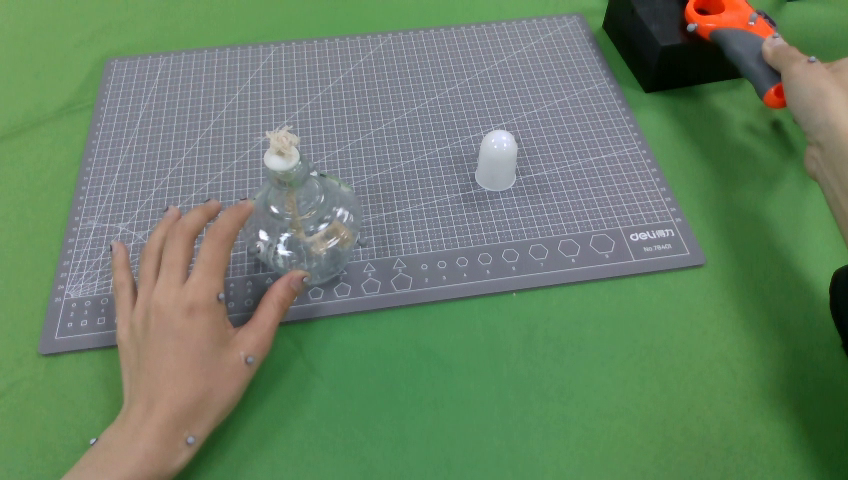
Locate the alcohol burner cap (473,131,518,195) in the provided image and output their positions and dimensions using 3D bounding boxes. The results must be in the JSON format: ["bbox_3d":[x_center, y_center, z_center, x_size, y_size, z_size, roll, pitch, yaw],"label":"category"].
[{"bbox_3d":[0.055,-0.061,0.456,0.034,0.048,0.033,1,53,-1],"label":"alcohol burner cap"}]

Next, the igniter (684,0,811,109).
[{"bbox_3d":[0.239,-0.206,0.514,0.057,0.025,0.273,-15,54,-1],"label":"igniter"}]

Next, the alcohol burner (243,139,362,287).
[{"bbox_3d":[-0.080,-0.021,0.384,0.078,0.120,0.077,-1,56,1],"label":"alcohol burner"}]
